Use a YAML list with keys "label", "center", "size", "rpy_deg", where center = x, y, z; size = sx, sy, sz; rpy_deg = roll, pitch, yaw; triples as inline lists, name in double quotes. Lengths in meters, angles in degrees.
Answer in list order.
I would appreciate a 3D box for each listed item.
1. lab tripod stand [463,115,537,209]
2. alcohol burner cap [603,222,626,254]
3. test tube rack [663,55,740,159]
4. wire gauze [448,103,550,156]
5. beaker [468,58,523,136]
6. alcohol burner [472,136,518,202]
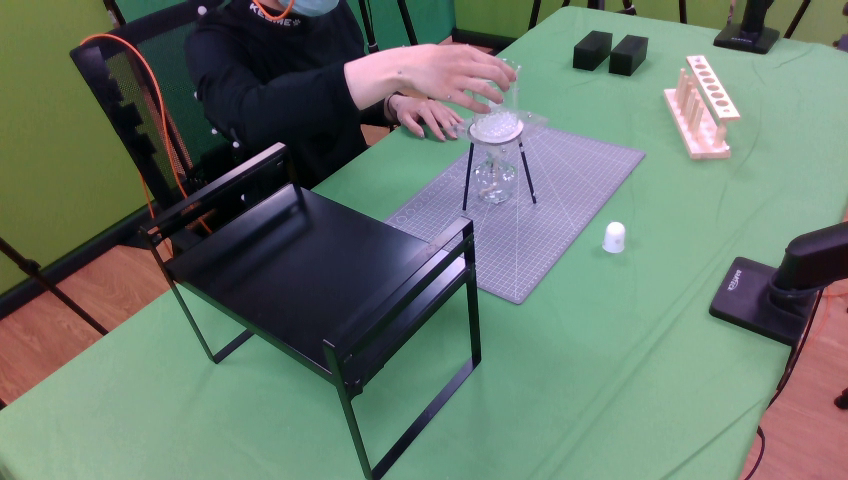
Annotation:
- label: "lab tripod stand"
  center: [0.120, -0.134, 1.018]
  size: [0.148, 0.132, 0.147]
  rpy_deg: [-5, 39, 5]
- label: "alcohol burner cap"
  center: [0.291, -0.006, 0.921]
  size: [0.034, 0.048, 0.033]
  rpy_deg: [-4, 40, 4]
- label: "test tube rack"
  center: [0.518, -0.256, 1.144]
  size: [0.066, 0.085, 0.241]
  rpy_deg: [-1, 41, 8]
- label: "wire gauze"
  center: [0.119, -0.184, 0.973]
  size: [0.122, 0.011, 0.124]
  rpy_deg: [-34, 45, -27]
- label: "beaker"
  center: [0.113, -0.219, 0.934]
  size: [0.084, 0.101, 0.073]
  rpy_deg: [-14, 40, -4]
- label: "alcohol burner"
  center: [0.121, -0.124, 1.023]
  size: [0.078, 0.119, 0.077]
  rpy_deg: [-3, 42, 3]
